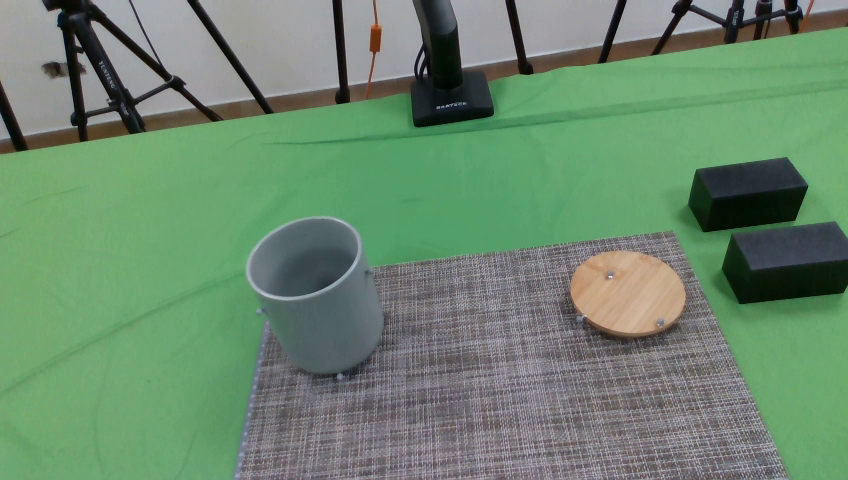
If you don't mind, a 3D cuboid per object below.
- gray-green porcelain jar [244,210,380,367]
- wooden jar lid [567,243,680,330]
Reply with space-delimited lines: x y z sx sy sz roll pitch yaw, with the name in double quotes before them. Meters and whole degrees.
"gray-green porcelain jar" -0.101 0.052 0.581 0.106 0.128 0.105 -5 45 5
"wooden jar lid" 0.198 0.047 0.606 0.108 0.021 0.107 -5 46 6
